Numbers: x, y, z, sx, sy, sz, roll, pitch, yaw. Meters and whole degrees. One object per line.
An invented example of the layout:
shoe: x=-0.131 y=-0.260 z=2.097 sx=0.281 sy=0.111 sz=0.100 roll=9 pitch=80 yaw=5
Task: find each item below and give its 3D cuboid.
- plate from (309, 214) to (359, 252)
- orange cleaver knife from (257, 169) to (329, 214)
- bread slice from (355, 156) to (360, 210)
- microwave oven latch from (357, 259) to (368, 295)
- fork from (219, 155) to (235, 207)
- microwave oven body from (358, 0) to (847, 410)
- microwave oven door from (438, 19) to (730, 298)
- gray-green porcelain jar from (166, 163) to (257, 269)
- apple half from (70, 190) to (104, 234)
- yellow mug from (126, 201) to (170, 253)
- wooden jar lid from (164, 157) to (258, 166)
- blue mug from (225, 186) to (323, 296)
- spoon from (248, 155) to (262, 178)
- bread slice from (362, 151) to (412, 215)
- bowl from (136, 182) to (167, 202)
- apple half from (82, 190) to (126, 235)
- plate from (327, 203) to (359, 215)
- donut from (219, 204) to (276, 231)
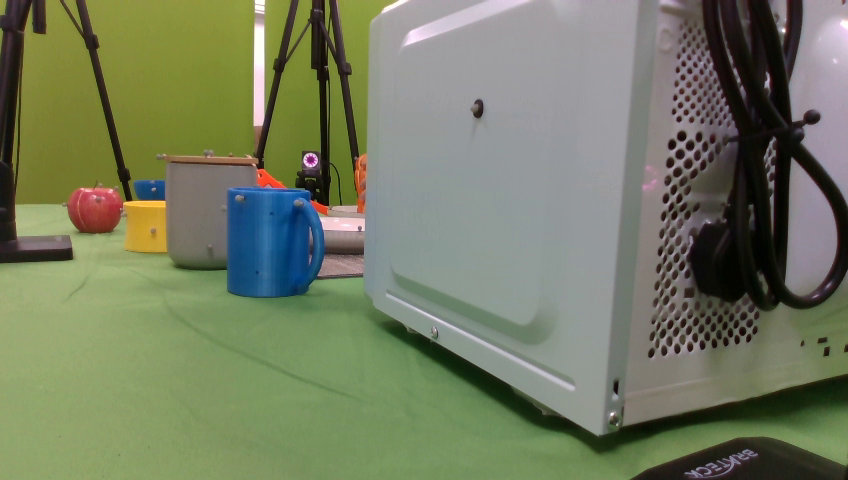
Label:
plate: x=-0.130 y=-0.011 z=0.945 sx=0.208 sy=0.039 sz=0.207 roll=2 pitch=8 yaw=0
orange cleaver knife: x=-0.286 y=-0.082 z=1.300 sx=0.212 sy=0.077 sz=0.012 roll=26 pitch=-6 yaw=-31
bread slice: x=-0.094 y=-0.128 z=1.302 sx=0.107 sy=0.134 sz=0.018 roll=-4 pitch=4 yaw=-22
microwave oven latch: x=-0.019 y=0.031 z=0.529 sx=0.079 sy=0.029 sz=0.030 roll=-1 pitch=7 yaw=-26
fork: x=-0.459 y=-0.134 z=1.415 sx=0.028 sy=0.018 sz=0.207 roll=-1 pitch=-34 yaw=-24
microwave oven body: x=0.210 y=-0.051 z=0.471 sx=0.444 sy=0.260 sz=0.324 roll=-1 pitch=7 yaw=-28
microwave oven door: x=0.181 y=-0.076 z=0.618 sx=0.358 sy=0.243 sz=0.039 roll=-2 pitch=8 yaw=-28
gray-green porcelain jar: x=-0.263 y=-0.031 z=0.754 sx=0.106 sy=0.126 sz=0.106 roll=2 pitch=7 yaw=0
apple half: x=-0.552 y=-0.048 z=1.010 sx=0.053 sy=0.074 sz=0.081 roll=-1 pitch=10 yaw=26
yellow mug: x=-0.361 y=-0.019 z=0.866 sx=0.130 sy=0.064 sz=0.100 roll=6 pitch=9 yaw=27
wooden jar lid: x=-0.261 y=-0.093 z=0.746 sx=0.108 sy=0.020 sz=0.108 roll=0 pitch=9 yaw=0
blue mug: x=-0.148 y=0.000 z=0.618 sx=0.116 sy=0.106 sz=0.083 roll=7 pitch=9 yaw=33
spoon: x=-0.417 y=-0.150 z=1.543 sx=0.042 sy=0.193 sz=0.021 roll=-6 pitch=-34 yaw=-32
bread slice: x=-0.078 y=-0.118 z=1.248 sx=0.105 sy=0.131 sz=0.019 roll=-5 pitch=4 yaw=-23
bowl: x=-0.497 y=-0.076 z=1.221 sx=0.151 sy=0.077 sz=0.151 roll=2 pitch=7 yaw=0
apple half: x=-0.516 y=-0.046 z=0.994 sx=0.032 sy=0.081 sz=0.081 roll=0 pitch=6 yaw=26
plate: x=-0.102 y=-0.053 z=1.298 sx=0.209 sy=0.038 sz=0.209 roll=2 pitch=7 yaw=0
donut: x=-0.316 y=-0.039 z=1.083 sx=0.099 sy=0.048 sz=0.099 roll=2 pitch=7 yaw=0
